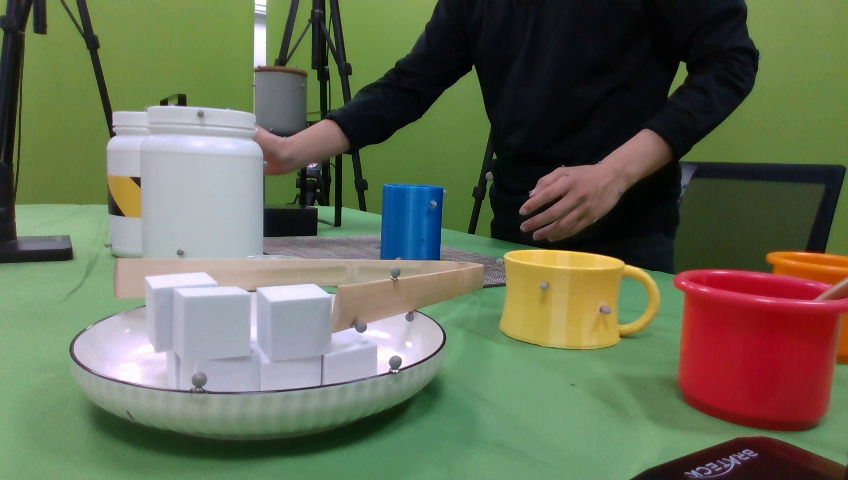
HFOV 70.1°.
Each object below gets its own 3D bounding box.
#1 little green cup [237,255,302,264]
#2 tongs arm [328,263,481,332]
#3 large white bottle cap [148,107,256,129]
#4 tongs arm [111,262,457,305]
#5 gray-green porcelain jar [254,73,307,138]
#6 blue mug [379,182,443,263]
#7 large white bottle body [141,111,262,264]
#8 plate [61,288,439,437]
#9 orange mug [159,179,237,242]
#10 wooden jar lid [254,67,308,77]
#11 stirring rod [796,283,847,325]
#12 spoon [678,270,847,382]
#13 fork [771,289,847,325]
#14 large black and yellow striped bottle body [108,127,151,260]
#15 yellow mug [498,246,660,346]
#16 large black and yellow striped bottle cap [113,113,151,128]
[{"bbox_3d":[-0.150,0.038,0.590,0.061,0.038,0.061,3,6,0],"label":"little green cup"},{"bbox_3d":[-0.003,0.036,0.493,0.050,0.026,0.386,1,-1,19],"label":"tongs arm"},{"bbox_3d":[-0.250,-0.137,0.686,0.115,0.018,0.115,3,8,0],"label":"large white bottle cap"},{"bbox_3d":[-0.080,0.032,0.527,0.028,0.027,0.389,-3,-4,33],"label":"tongs arm"},{"bbox_3d":[-0.298,-0.277,1.259,0.106,0.126,0.106,3,7,0],"label":"gray-green porcelain jar"},{"bbox_3d":[-0.020,-0.026,0.833,0.082,0.106,0.116,1,7,-7],"label":"blue mug"},{"bbox_3d":[-0.254,-0.054,0.697,0.131,0.184,0.130,2,7,0],"label":"large white bottle body"},{"bbox_3d":[-0.095,0.069,0.362,0.208,0.039,0.207,3,7,0],"label":"plate"},{"bbox_3d":[-0.368,-0.052,0.991,0.127,0.101,0.083,-10,14,-41],"label":"orange mug"},{"bbox_3d":[-0.296,-0.339,1.251,0.108,0.020,0.108,2,7,0],"label":"wooden jar lid"},{"bbox_3d":[0.347,0.019,0.460,0.014,0.176,0.006,-16,59,-25],"label":"stirring rod"},{"bbox_3d":[0.229,0.031,0.338,0.193,0.021,0.042,-44,-17,27],"label":"spoon"},{"bbox_3d":[0.335,0.018,0.443,0.028,0.018,0.207,-1,-36,-20],"label":"fork"},{"bbox_3d":[-0.350,-0.071,0.812,0.131,0.184,0.130,2,7,0],"label":"large black and yellow striped bottle body"},{"bbox_3d":[0.130,0.045,0.508,0.131,0.064,0.100,4,7,6],"label":"yellow mug"},{"bbox_3d":[-0.348,-0.154,0.800,0.115,0.019,0.115,2,6,0],"label":"large black and yellow striped bottle cap"}]
